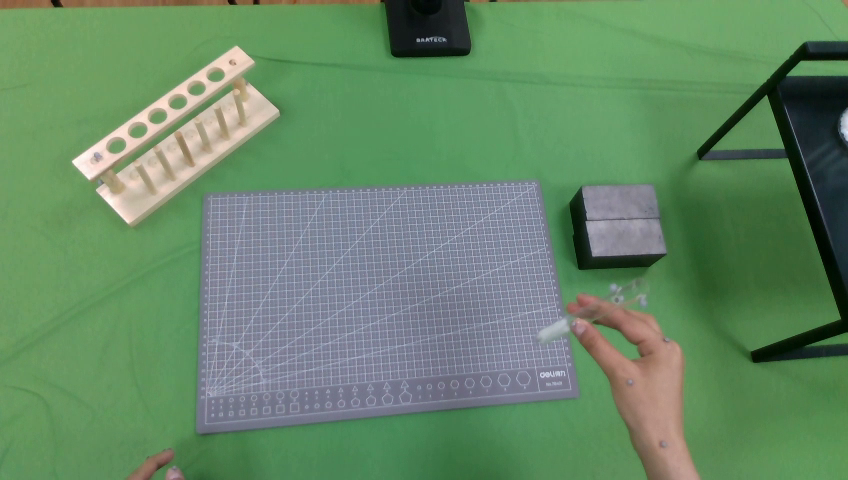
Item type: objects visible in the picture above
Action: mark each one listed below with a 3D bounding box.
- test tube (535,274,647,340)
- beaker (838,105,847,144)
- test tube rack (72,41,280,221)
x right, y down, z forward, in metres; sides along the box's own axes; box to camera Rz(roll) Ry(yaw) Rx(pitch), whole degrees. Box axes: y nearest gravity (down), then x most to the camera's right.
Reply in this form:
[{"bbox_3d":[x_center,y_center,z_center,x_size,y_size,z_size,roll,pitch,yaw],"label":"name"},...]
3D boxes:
[{"bbox_3d":[0.143,0.063,0.541,0.017,0.150,0.017,10,62,-20],"label":"test tube"},{"bbox_3d":[0.520,-0.145,0.668,0.084,0.101,0.073,-7,70,-9],"label":"beaker"},{"bbox_3d":[-0.300,-0.139,0.762,0.066,0.085,0.242,43,70,10],"label":"test tube rack"}]
